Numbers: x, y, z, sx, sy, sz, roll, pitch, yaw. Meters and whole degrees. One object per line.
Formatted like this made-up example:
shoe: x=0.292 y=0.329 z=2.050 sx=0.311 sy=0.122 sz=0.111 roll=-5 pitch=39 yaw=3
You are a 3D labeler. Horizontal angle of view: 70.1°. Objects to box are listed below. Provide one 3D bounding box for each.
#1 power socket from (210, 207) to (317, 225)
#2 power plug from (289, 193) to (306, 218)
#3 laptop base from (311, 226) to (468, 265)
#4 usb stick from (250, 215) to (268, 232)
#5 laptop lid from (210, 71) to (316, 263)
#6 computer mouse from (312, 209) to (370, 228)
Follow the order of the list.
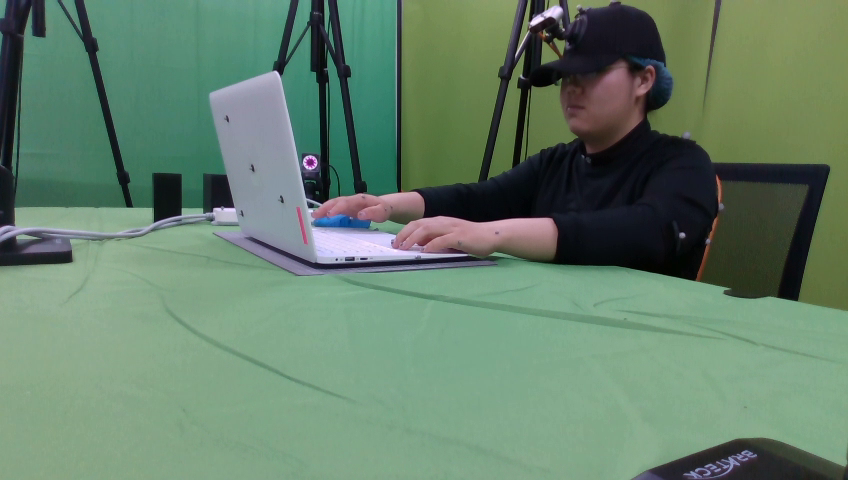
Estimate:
power socket: x=-0.334 y=-0.051 z=1.281 sx=0.228 sy=0.032 sz=0.072 roll=-1 pitch=8 yaw=-28
power plug: x=-0.281 y=-0.076 z=1.340 sx=0.035 sy=0.052 sz=0.072 roll=3 pitch=6 yaw=-17
laptop base: x=-0.123 y=0.007 z=0.951 sx=0.237 sy=0.023 sz=0.352 roll=2 pitch=6 yaw=-32
usb stick: x=-0.290 y=-0.028 z=1.070 sx=0.021 sy=0.027 sz=0.059 roll=0 pitch=11 yaw=-30
laptop lid: x=-0.241 y=-0.104 z=0.861 sx=0.013 sy=0.241 sz=0.355 roll=-16 pitch=17 yaw=-29
computer mouse: x=-0.174 y=-0.043 z=1.266 sx=0.118 sy=0.041 sz=0.062 roll=-7 pitch=14 yaw=-34
